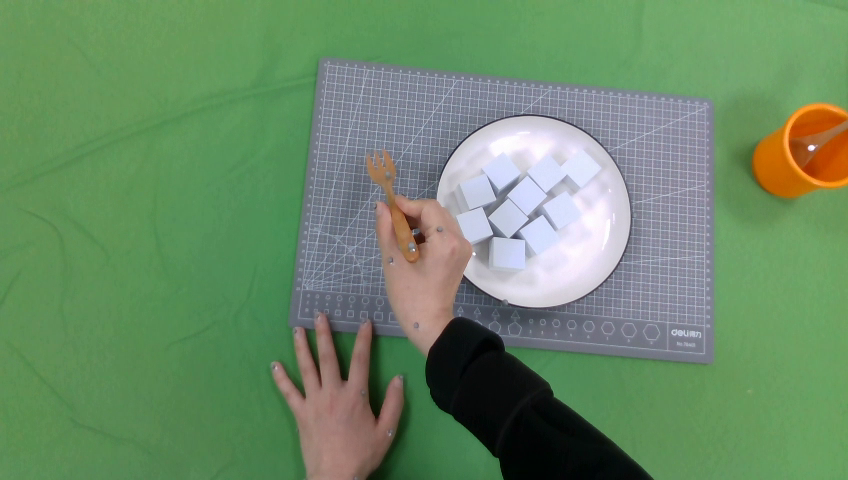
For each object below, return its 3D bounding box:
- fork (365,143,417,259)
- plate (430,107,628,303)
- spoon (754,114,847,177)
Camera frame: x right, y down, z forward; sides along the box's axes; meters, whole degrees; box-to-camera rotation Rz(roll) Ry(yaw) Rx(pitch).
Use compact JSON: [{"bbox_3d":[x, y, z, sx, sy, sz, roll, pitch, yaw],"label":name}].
[{"bbox_3d":[-0.031,-0.043,0.562,0.028,0.205,0.019,-17,123,-3],"label":"fork"},{"bbox_3d":[0.109,-0.036,0.643,0.208,0.039,0.207,1,81,-4],"label":"plate"},{"bbox_3d":[0.440,-0.125,0.626,0.022,0.194,0.041,-12,72,-49],"label":"spoon"}]
